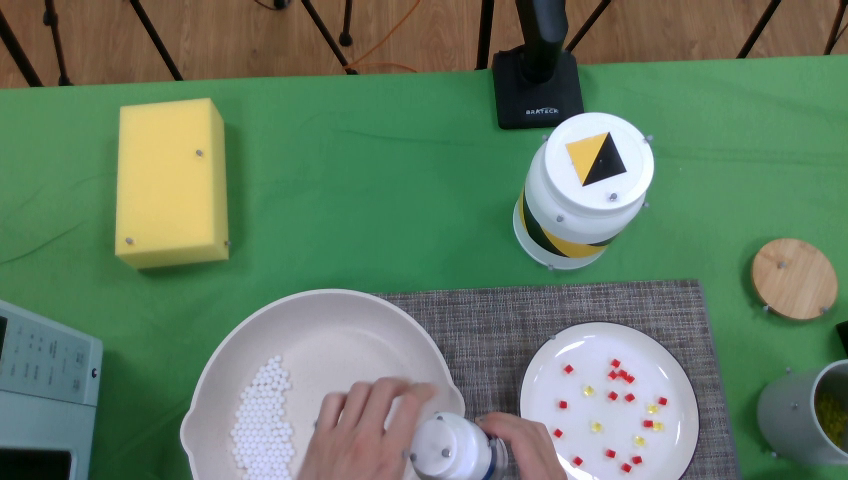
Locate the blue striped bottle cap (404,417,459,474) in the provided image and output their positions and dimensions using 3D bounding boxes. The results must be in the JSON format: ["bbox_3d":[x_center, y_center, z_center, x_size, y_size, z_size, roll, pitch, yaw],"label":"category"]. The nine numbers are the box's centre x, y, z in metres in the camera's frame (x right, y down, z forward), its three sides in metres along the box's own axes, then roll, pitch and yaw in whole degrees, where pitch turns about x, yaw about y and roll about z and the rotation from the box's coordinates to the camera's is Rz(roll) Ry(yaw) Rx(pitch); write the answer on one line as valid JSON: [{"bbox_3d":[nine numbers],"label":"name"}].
[{"bbox_3d":[0.006,0.168,0.497,0.044,0.021,0.044,-7,66,17],"label":"blue striped bottle cap"}]

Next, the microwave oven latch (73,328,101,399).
[{"bbox_3d":[-0.394,0.143,0.698,0.030,0.029,0.078,-1,72,-2],"label":"microwave oven latch"}]

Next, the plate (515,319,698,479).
[{"bbox_3d":[0.208,0.197,0.708,0.209,0.038,0.207,0,71,0],"label":"plate"}]

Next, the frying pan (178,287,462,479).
[{"bbox_3d":[-0.104,0.292,0.635,0.307,0.103,0.483,-4,63,0],"label":"frying pan"}]

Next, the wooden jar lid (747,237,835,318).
[{"bbox_3d":[0.467,0.049,0.777,0.108,0.021,0.107,0,72,-1],"label":"wooden jar lid"}]

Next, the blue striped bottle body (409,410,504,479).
[{"bbox_3d":[0.026,0.188,0.541,0.063,0.122,0.062,-9,65,20],"label":"blue striped bottle body"}]

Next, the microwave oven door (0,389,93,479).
[{"bbox_3d":[-0.388,0.315,0.532,0.039,0.245,0.353,-2,71,-2],"label":"microwave oven door"}]

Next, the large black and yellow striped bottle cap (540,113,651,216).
[{"bbox_3d":[0.181,-0.081,0.639,0.115,0.019,0.114,0,70,0],"label":"large black and yellow striped bottle cap"}]

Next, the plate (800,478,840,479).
[{"bbox_3d":[0.441,0.367,0.658,0.208,0.039,0.206,0,71,-1],"label":"plate"}]

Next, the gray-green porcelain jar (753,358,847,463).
[{"bbox_3d":[0.440,0.192,0.671,0.106,0.127,0.105,0,71,-1],"label":"gray-green porcelain jar"}]

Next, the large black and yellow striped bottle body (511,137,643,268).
[{"bbox_3d":[0.180,-0.053,0.720,0.131,0.185,0.130,0,70,-1],"label":"large black and yellow striped bottle body"}]

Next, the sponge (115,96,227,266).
[{"bbox_3d":[-0.325,-0.077,0.782,0.118,0.061,0.205,-8,72,-4],"label":"sponge"}]

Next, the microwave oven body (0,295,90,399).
[{"bbox_3d":[-0.534,0.282,0.545,0.326,0.261,0.438,-2,72,-2],"label":"microwave oven body"}]
